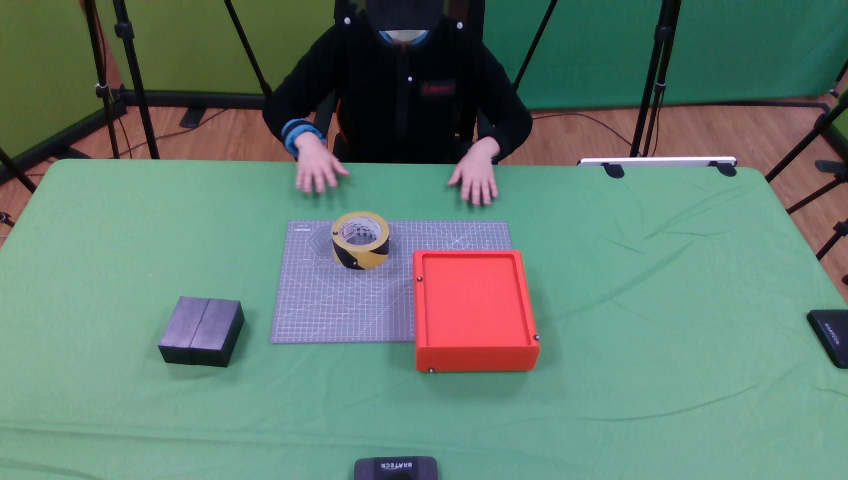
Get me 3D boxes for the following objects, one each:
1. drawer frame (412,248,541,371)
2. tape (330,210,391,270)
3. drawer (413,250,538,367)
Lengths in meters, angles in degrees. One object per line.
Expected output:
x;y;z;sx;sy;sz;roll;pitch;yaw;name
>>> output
0.082;0.116;1.046;0.202;0.083;0.212;0;47;-4;drawer frame
-0.123;-0.002;1.164;0.117;0.053;0.116;3;46;-3;tape
0.080;0.114;1.047;0.195;0.073;0.210;1;47;-4;drawer
